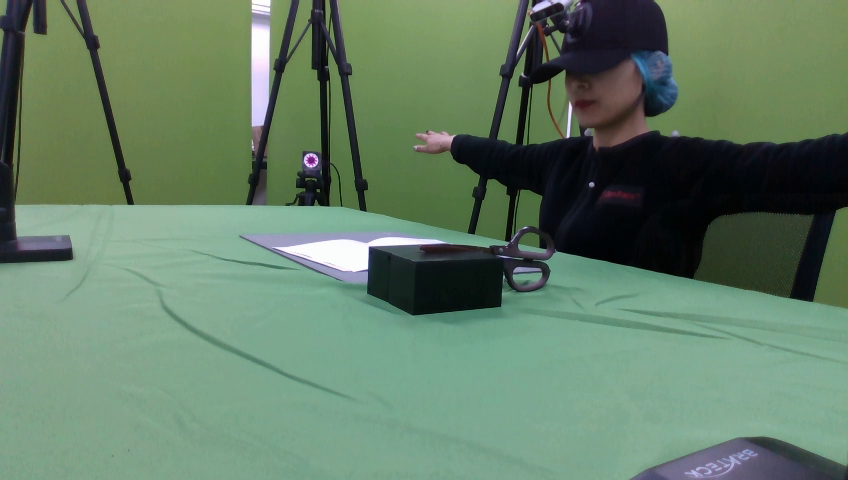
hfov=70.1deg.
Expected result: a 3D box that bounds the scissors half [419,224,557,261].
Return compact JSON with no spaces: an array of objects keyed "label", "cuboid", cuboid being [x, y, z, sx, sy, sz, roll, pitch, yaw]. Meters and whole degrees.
[{"label":"scissors half","cuboid":[0.072,0.004,0.641,0.176,0.040,0.013,-3,12,-29]}]

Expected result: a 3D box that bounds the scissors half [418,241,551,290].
[{"label":"scissors half","cuboid":[0.067,0.024,0.645,0.176,0.040,0.012,17,7,-31]}]
